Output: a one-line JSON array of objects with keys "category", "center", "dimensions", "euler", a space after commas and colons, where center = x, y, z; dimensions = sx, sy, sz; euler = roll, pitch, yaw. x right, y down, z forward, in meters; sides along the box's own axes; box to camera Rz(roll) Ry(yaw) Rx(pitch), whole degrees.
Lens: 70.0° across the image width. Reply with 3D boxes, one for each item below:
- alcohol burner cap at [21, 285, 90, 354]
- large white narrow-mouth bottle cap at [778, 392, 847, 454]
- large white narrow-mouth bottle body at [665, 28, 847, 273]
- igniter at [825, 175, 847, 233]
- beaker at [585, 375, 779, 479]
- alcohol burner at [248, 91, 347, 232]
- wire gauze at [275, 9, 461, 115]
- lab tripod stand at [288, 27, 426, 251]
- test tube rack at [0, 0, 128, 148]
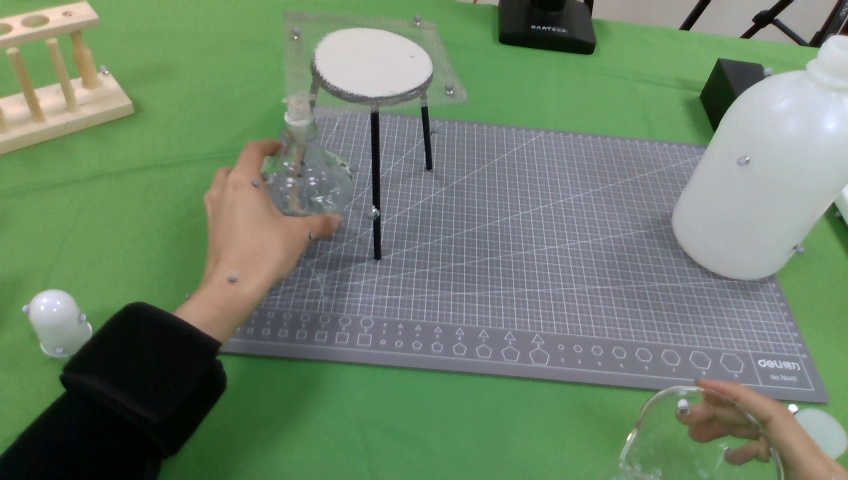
[{"category": "alcohol burner cap", "center": [-0.246, 0.051, 0.401], "dimensions": [0.034, 0.048, 0.033], "euler": [5, 47, -5]}, {"category": "large white narrow-mouth bottle cap", "center": [0.267, 0.126, 0.417], "dimensions": [0.038, 0.024, 0.037], "euler": [4, 47, -4]}, {"category": "large white narrow-mouth bottle body", "center": [0.270, -0.069, 0.473], "dimensions": [0.102, 0.196, 0.101], "euler": [3, 47, -3]}, {"category": "igniter", "center": [0.399, 0.041, 0.508], "dimensions": [0.057, 0.025, 0.274], "euler": [14, 47, -9]}, {"category": "beaker", "center": [0.132, 0.134, 0.339], "dimensions": [0.084, 0.101, 0.073], "euler": [-4, 48, -9]}, {"category": "alcohol burner", "center": [-0.098, -0.064, 0.471], "dimensions": [0.078, 0.120, 0.077], "euler": [5, 45, -5]}, {"category": "wire gauze", "center": [-0.044, -0.133, 0.439], "dimensions": [0.122, 0.011, 0.123], "euler": [-4, 50, -13]}, {"category": "lab tripod stand", "center": [-0.047, -0.086, 0.487], "dimensions": [0.148, 0.132, 0.147], "euler": [5, 48, -5]}, {"category": "test tube rack", "center": [-0.395, -0.125, 0.511], "dimensions": [0.242, 0.086, 0.066], "euler": [-27, 57, -29]}]
